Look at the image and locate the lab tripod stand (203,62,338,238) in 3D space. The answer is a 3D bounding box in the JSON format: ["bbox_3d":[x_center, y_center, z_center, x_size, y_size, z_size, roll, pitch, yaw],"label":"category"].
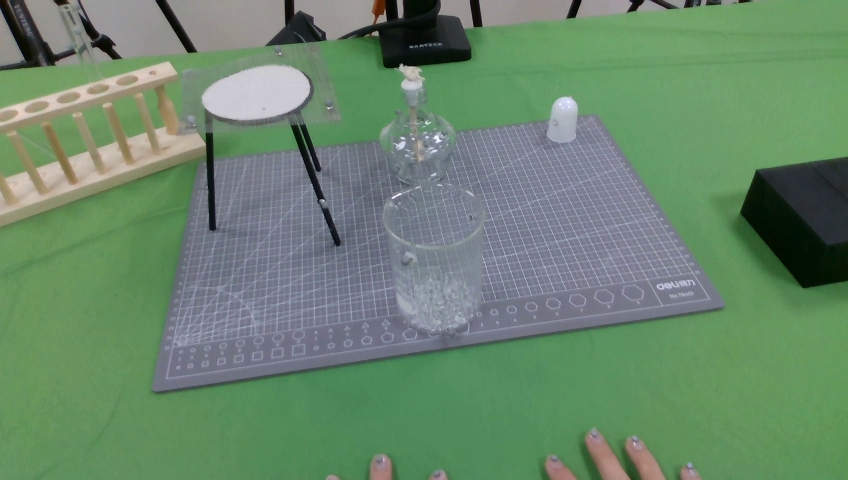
[{"bbox_3d":[-0.138,-0.078,0.544,0.148,0.133,0.147,-2,46,2],"label":"lab tripod stand"}]

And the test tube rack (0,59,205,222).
[{"bbox_3d":[-0.362,-0.101,0.619,0.242,0.086,0.066,-25,48,-22],"label":"test tube rack"}]

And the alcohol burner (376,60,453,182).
[{"bbox_3d":[-0.011,-0.119,0.595,0.078,0.120,0.077,-3,42,3],"label":"alcohol burner"}]

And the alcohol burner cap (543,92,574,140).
[{"bbox_3d":[0.147,-0.137,0.659,0.034,0.048,0.033,-1,44,2],"label":"alcohol burner cap"}]

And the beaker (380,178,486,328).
[{"bbox_3d":[0.005,0.013,0.467,0.083,0.101,0.074,26,50,28],"label":"beaker"}]

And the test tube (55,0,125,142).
[{"bbox_3d":[-0.336,-0.166,0.614,0.017,0.151,0.017,-1,40,1],"label":"test tube"}]

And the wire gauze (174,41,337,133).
[{"bbox_3d":[-0.141,-0.126,0.498,0.125,0.011,0.120,-12,44,-8],"label":"wire gauze"}]

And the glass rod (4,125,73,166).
[{"bbox_3d":[-0.420,-0.125,0.566,0.008,0.202,0.008,-15,55,24],"label":"glass rod"}]
